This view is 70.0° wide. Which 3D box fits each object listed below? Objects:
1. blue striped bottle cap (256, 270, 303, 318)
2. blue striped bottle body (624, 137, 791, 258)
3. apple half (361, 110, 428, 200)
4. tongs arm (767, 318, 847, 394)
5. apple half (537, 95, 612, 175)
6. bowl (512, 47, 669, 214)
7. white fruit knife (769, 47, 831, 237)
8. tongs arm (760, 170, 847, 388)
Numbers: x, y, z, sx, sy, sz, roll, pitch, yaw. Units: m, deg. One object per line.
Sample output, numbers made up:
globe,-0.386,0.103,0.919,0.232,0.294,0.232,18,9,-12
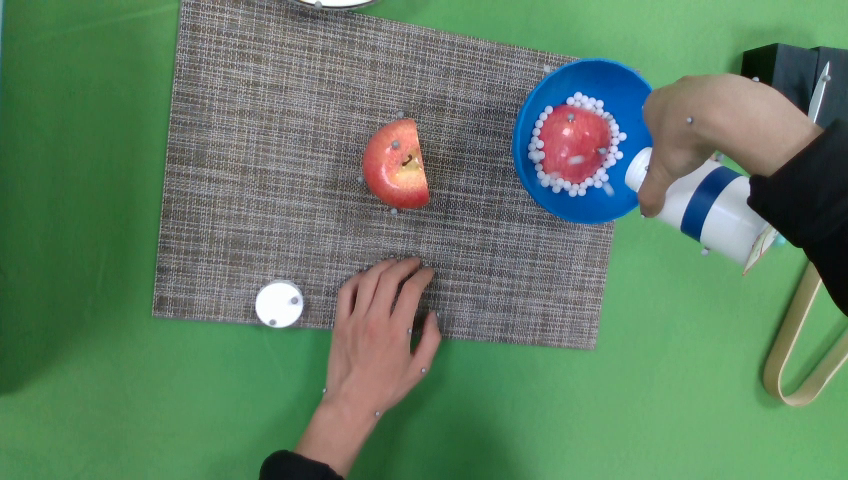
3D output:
blue striped bottle cap,-0.138,0.052,0.576,0.045,0.020,0.044,-2,97,-13
blue striped bottle body,0.226,-0.042,0.497,0.063,0.119,0.063,-31,142,-27
apple half,-0.030,-0.075,0.553,0.053,0.074,0.081,-12,103,-7
tongs arm,0.546,0.032,0.720,0.051,0.026,0.384,37,90,-13
apple half,0.149,-0.100,0.582,0.081,0.032,0.081,-1,96,-12
bowl,0.147,-0.102,0.586,0.152,0.076,0.151,-2,98,-11
white fruit knife,0.398,-0.096,0.642,0.016,0.027,0.208,3,114,5
tongs arm,0.478,-0.010,0.703,0.028,0.027,0.387,23,93,-16
